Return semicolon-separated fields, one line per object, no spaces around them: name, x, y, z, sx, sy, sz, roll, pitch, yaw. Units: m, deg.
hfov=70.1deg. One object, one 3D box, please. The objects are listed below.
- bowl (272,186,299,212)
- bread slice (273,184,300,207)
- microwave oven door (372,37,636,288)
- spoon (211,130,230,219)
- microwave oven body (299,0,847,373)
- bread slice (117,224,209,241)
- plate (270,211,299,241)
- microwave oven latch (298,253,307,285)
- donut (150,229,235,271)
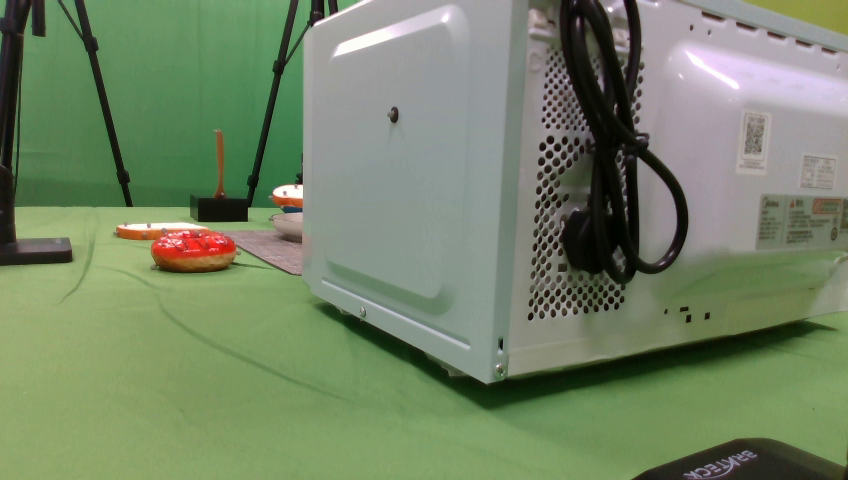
bowl;-0.254;-0.075;1.318;0.151;0.077;0.151;2;7;0
bread slice;-0.188;-0.075;1.031;0.135;0.018;0.106;1;18;-11
microwave oven door;0.110;-0.080;0.686;0.358;0.243;0.039;-2;9;-33
spoon;-0.436;-0.138;1.296;0.042;0.193;0.021;-4;23;-28
microwave oven body;0.151;-0.055;0.542;0.444;0.260;0.324;-2;7;-33
bread slice;-0.443;-0.015;1.022;0.132;0.019;0.104;-3;8;-45
plate;-0.162;-0.022;1.058;0.208;0.039;0.207;3;7;0
microwave oven latch;-0.081;0.027;0.582;0.079;0.029;0.030;-2;7;-32
donut;-0.285;0.013;0.747;0.099;0.048;0.099;3;10;0
